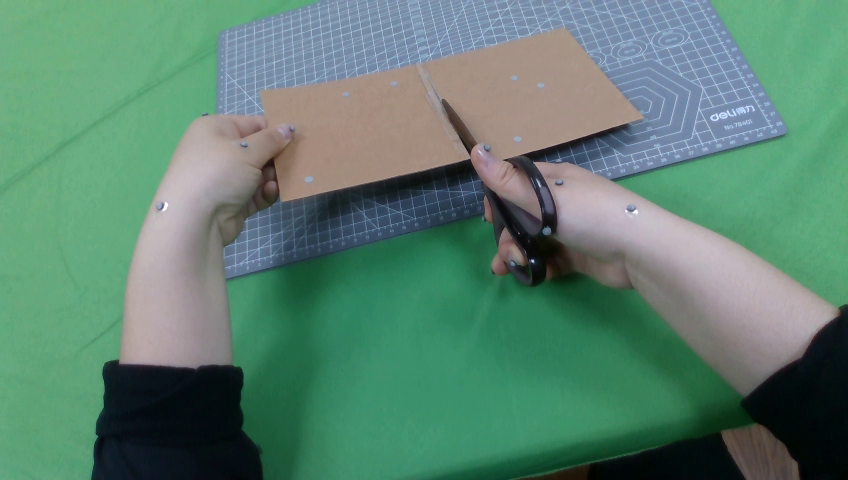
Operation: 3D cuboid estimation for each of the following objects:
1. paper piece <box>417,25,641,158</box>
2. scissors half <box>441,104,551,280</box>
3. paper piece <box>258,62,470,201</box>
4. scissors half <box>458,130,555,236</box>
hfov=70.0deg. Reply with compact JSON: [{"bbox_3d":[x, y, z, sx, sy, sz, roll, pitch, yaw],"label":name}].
[{"bbox_3d":[0.078,-0.123,0.482,0.135,0.004,0.134,-16,52,-9],"label":"paper piece"},{"bbox_3d":[0.043,-0.042,0.426,0.013,0.040,0.173,-19,58,-10],"label":"scissors half"},{"bbox_3d":[-0.052,-0.089,0.458,0.138,0.009,0.134,-15,44,-8],"label":"paper piece"},{"bbox_3d":[0.042,-0.057,0.410,0.013,0.040,0.173,-15,34,-14],"label":"scissors half"}]
